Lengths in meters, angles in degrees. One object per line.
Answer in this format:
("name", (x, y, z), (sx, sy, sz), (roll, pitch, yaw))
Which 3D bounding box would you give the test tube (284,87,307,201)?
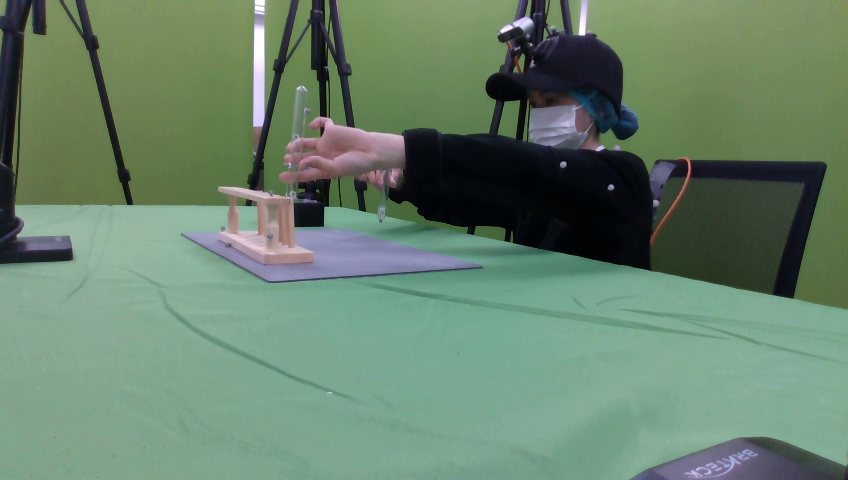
("test tube", (-0.170, -0.127, 0.802), (0.017, 0.150, 0.017), (8, 10, -1))

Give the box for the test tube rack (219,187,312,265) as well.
("test tube rack", (-0.235, -0.027, 0.872), (0.067, 0.085, 0.241), (-2, 8, -31))

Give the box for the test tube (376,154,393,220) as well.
("test tube", (-0.072, -0.092, 1.088), (0.017, 0.150, 0.017), (7, 44, -6))
